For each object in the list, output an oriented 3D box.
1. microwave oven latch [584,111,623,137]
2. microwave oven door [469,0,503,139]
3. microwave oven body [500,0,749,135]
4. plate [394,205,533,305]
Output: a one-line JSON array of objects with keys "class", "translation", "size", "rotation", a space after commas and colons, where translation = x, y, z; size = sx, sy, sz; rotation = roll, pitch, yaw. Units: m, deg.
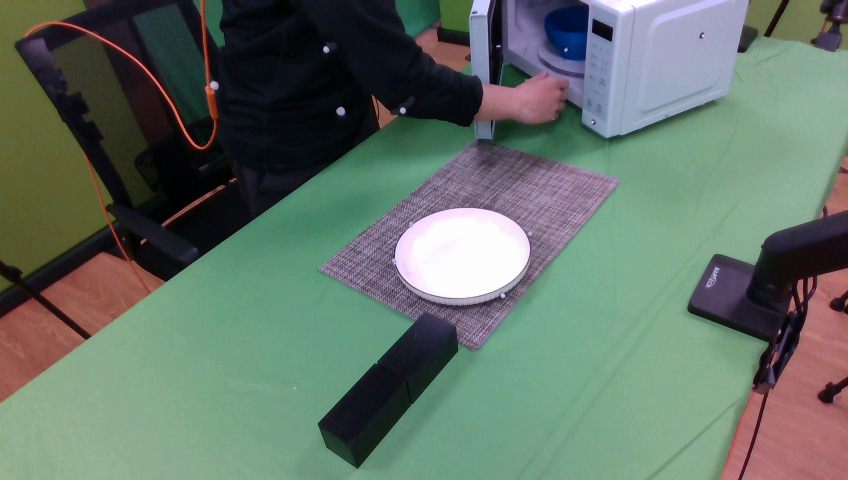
[{"class": "microwave oven latch", "translation": [0.337, -0.222, 1.142], "size": [0.030, 0.029, 0.078], "rotation": [-21, 42, -14]}, {"class": "microwave oven door", "translation": [0.130, -0.403, 1.225], "size": [0.039, 0.245, 0.354], "rotation": [2, 41, 10]}, {"class": "microwave oven body", "translation": [0.382, -0.444, 1.246], "size": [0.327, 0.261, 0.437], "rotation": [-22, 42, -16]}, {"class": "plate", "translation": [0.059, 0.025, 0.915], "size": [0.207, 0.039, 0.206], "rotation": [-4, 41, 4]}]
